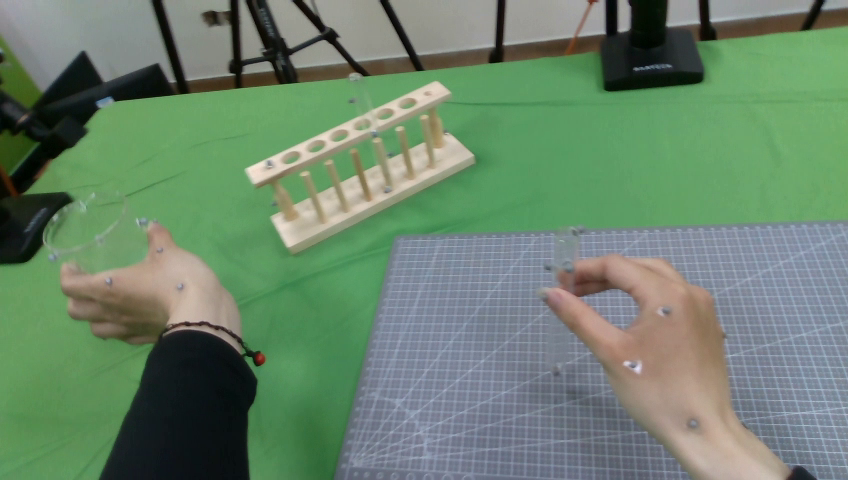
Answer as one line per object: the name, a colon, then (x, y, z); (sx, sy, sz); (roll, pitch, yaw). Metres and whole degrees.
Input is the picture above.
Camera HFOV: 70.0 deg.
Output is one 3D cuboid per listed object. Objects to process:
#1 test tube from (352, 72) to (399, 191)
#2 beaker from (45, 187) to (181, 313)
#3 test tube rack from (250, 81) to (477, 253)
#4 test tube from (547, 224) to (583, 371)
test tube: (-0.050, -0.113, 0.653); (0.017, 0.152, 0.017); (-8, 44, 8)
beaker: (-0.277, 0.012, 0.550); (0.074, 0.101, 0.083); (-34, 47, -16)
test tube rack: (-0.063, -0.086, 0.694); (0.242, 0.086, 0.066); (-27, 46, -12)
test tube: (0.099, 0.048, 0.434); (0.017, 0.152, 0.017); (-3, 44, 4)
